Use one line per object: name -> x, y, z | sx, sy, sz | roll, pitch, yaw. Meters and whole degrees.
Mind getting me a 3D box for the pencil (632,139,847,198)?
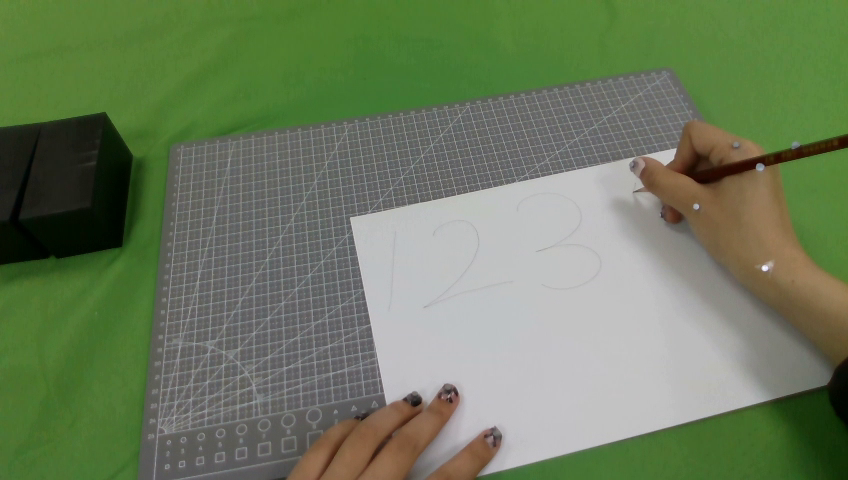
pencil -> 0.202, -0.044, 0.383 | 0.012, 0.193, 0.012 | 3, 82, -25
